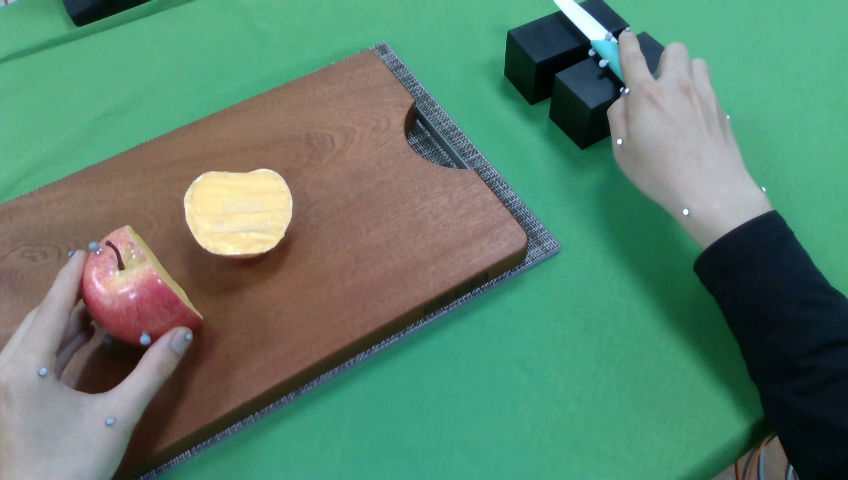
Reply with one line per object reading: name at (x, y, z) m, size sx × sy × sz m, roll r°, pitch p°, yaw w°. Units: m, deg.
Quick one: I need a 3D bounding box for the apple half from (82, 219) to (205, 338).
apple half at (-0.192, 0.034, 0.406) m, size 0.053 × 0.075 × 0.080 m, roll -40°, pitch 67°, yaw -15°

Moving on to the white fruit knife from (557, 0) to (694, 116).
white fruit knife at (0.157, -0.175, 0.526) m, size 0.027 × 0.016 × 0.205 m, roll -18°, pitch 57°, yaw -20°

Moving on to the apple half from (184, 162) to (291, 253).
apple half at (-0.140, -0.020, 0.461) m, size 0.081 × 0.033 × 0.080 m, roll 4°, pitch 67°, yaw -8°
